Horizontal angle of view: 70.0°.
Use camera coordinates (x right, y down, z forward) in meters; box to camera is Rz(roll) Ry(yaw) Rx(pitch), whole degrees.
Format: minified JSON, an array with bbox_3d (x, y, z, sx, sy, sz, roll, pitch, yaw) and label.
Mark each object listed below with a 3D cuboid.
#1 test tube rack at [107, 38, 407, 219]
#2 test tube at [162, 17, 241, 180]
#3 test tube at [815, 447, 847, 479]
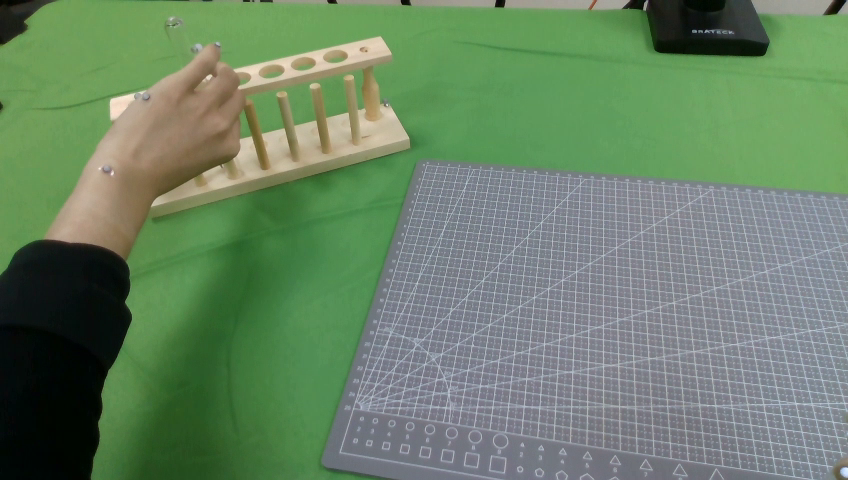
[{"bbox_3d":[-0.143,-0.103,0.550,0.243,0.086,0.066,-17,48,-12],"label":"test tube rack"},{"bbox_3d":[-0.180,-0.110,0.497,0.017,0.152,0.017,-3,47,4],"label":"test tube"},{"bbox_3d":[0.173,0.088,0.237,0.017,0.152,0.017,-4,47,4],"label":"test tube"}]
